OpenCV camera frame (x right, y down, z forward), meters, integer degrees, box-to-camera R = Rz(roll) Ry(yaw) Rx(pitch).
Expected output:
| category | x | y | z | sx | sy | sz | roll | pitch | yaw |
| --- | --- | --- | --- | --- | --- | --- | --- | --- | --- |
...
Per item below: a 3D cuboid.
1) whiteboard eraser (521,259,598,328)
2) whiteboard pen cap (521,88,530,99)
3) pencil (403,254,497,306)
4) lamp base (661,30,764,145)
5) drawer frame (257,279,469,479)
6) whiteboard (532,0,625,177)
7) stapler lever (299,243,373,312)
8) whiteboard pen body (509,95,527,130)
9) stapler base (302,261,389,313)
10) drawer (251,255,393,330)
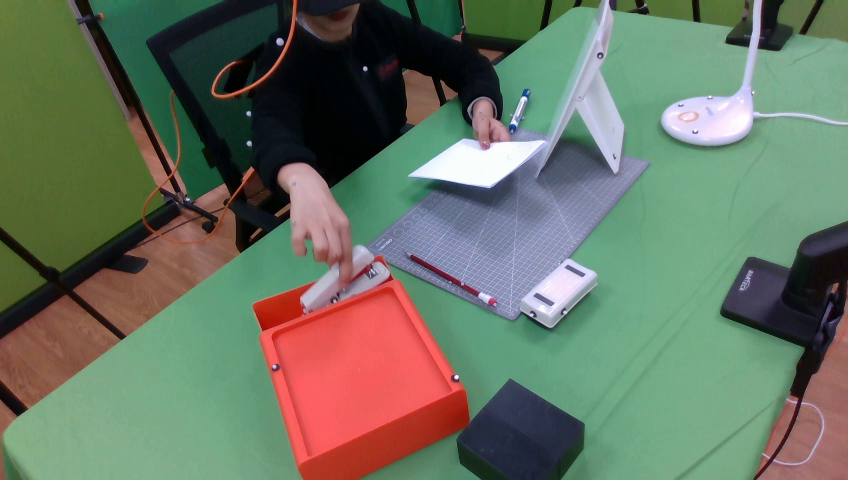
| category | x | y | z | sx | sy | sz | roll | pitch | yaw |
| --- | --- | --- | --- | --- | --- | --- | --- | --- | --- |
| whiteboard eraser | 0.189 | 0.076 | 0.843 | 0.055 | 0.042 | 0.113 | 29 | 53 | 37 |
| whiteboard pen cap | 0.219 | -0.312 | 1.301 | 0.018 | 0.018 | 0.033 | 6 | 47 | 17 |
| pencil | 0.034 | 0.056 | 0.914 | 0.192 | 0.012 | 0.012 | 27 | 52 | 38 |
| lamp base | 0.535 | -0.287 | 1.096 | 0.179 | 0.181 | 0.159 | -10 | 40 | -4 |
| drawer frame | -0.080 | 0.169 | 0.751 | 0.202 | 0.083 | 0.211 | -21 | 42 | -15 |
| whiteboard | 0.321 | -0.258 | 1.050 | 0.144 | 0.306 | 0.217 | 21 | 45 | 5 |
| stapler lever | -0.121 | 0.048 | 0.817 | 0.118 | 0.040 | 0.026 | -36 | 37 | -13 |
| whiteboard pen body | 0.199 | -0.273 | 1.262 | 0.017 | 0.017 | 0.140 | 7 | 44 | 18 |
| stapler base | -0.111 | 0.066 | 0.833 | 0.131 | 0.024 | 0.041 | -35 | 37 | -13 |
| drawer | -0.105 | 0.135 | 0.798 | 0.195 | 0.073 | 0.210 | -20 | 42 | -14 |
